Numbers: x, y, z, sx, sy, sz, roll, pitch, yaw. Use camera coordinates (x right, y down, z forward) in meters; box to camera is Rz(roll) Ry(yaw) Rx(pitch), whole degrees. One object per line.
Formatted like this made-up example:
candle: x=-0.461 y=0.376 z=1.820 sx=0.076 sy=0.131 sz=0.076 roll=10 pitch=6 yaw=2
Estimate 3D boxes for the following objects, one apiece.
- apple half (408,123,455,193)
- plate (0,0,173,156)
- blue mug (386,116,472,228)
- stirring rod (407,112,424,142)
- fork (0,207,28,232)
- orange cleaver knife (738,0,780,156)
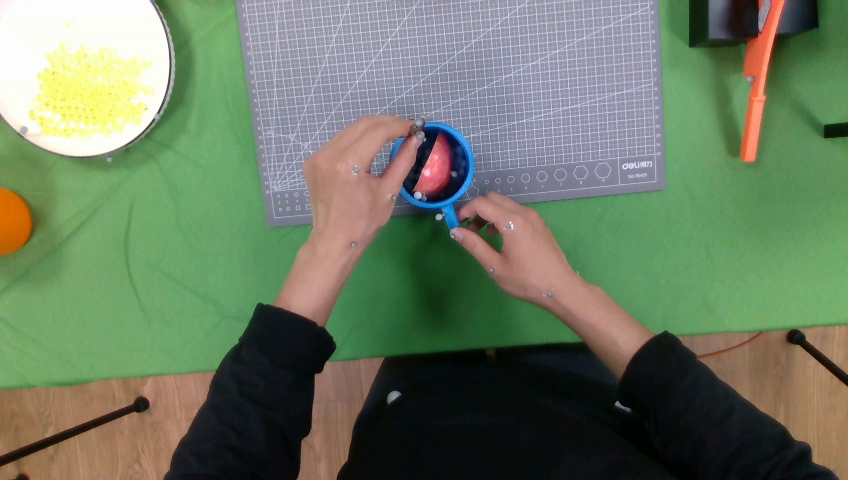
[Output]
apple half: x=0.016 y=-0.079 z=0.615 sx=0.032 sy=0.081 sz=0.081 roll=24 pitch=98 yaw=9
plate: x=-0.370 y=-0.196 z=0.650 sx=0.209 sy=0.038 sz=0.209 roll=0 pitch=99 yaw=1
blue mug: x=0.012 y=-0.067 z=0.628 sx=0.082 sy=0.105 sz=0.117 roll=-20 pitch=98 yaw=4
stirring rod: x=-0.009 y=-0.104 z=0.566 sx=0.014 sy=0.175 sz=0.006 roll=-40 pitch=95 yaw=1
fork: x=-0.530 y=-0.028 z=0.621 sx=0.209 sy=0.018 sz=0.028 roll=5 pitch=99 yaw=-44
orange cleaver knife: x=0.338 y=-0.191 z=0.619 sx=0.012 sy=0.076 sz=0.213 roll=-3 pitch=125 yaw=10
